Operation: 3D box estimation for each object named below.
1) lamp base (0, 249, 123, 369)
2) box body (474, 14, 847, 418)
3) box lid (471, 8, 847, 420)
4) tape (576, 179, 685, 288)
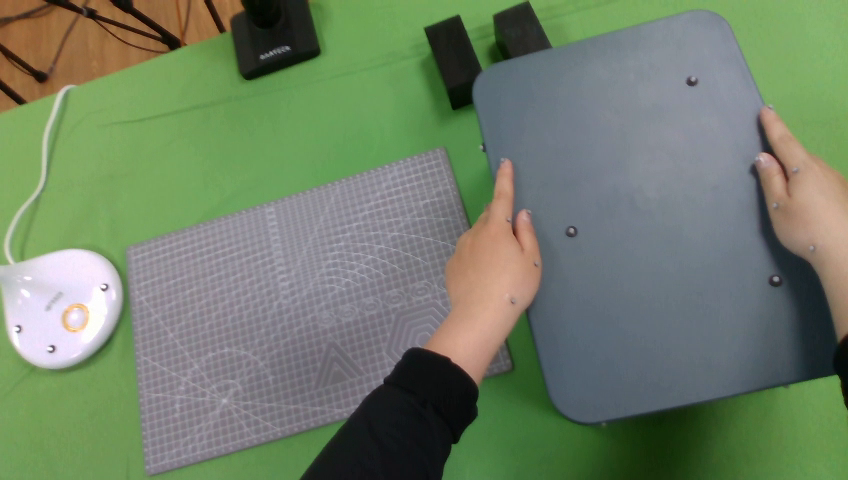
[{"bbox_3d":[-0.495,0.058,0.726,0.178,0.182,0.160,20,75,20],"label":"lamp base"},{"bbox_3d":[0.216,-0.015,0.628,0.254,0.161,0.361,-14,69,6],"label":"box body"},{"bbox_3d":[0.202,-0.042,0.561,0.263,0.015,0.368,-14,69,6],"label":"box lid"},{"bbox_3d":[0.228,-0.008,0.676,0.116,0.053,0.116,-3,70,9],"label":"tape"}]
